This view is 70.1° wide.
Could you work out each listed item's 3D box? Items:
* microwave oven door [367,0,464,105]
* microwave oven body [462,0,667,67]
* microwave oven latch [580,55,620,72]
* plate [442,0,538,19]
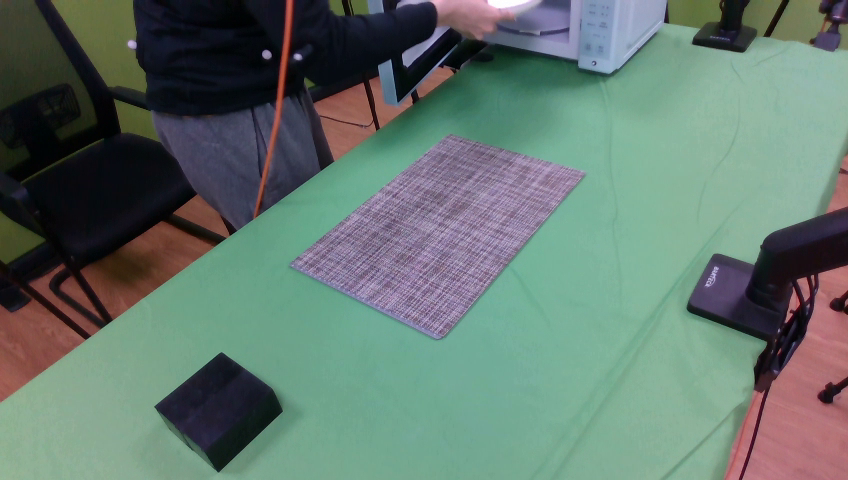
[{"bbox_3d":[-0.007,-0.496,1.348,0.039,0.245,0.356,14,46,23],"label":"microwave oven door"},{"bbox_3d":[0.324,-0.609,1.437,0.438,0.261,0.327,22,50,31],"label":"microwave oven body"},{"bbox_3d":[0.386,-0.393,1.330,0.078,0.029,0.030,25,51,32],"label":"microwave oven latch"},{"bbox_3d":[0.139,-0.495,1.228,0.209,0.038,0.208,-5,41,5],"label":"plate"}]
